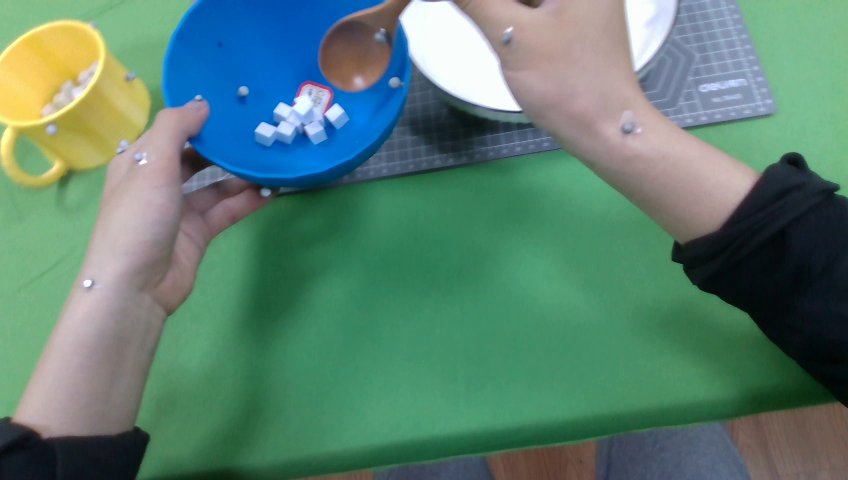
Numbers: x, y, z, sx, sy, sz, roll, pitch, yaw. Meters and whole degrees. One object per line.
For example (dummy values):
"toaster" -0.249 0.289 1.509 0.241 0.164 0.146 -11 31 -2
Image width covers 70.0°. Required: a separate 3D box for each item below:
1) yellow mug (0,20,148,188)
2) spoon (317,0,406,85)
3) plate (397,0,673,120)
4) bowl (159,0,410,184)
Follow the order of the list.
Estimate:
"yellow mug" -0.294 -0.102 0.485 0.099 0.064 0.130 14 71 15
"spoon" -0.007 -0.132 0.311 0.042 0.193 0.021 35 62 -20
"plate" 0.079 -0.176 0.465 0.209 0.038 0.207 -3 67 8
"bowl" -0.084 -0.097 0.401 0.151 0.077 0.150 0 73 -1
